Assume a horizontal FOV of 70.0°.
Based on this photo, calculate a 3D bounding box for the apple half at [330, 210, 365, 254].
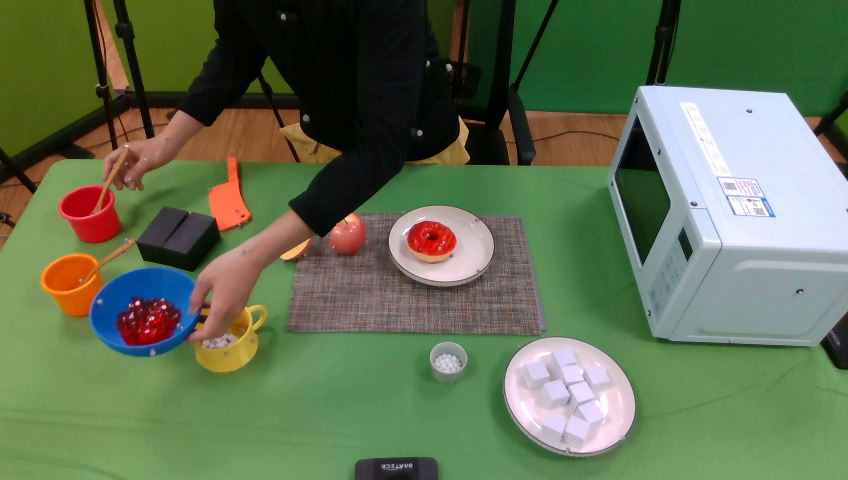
[{"bbox_3d":[-0.140,-0.009,1.157,0.053,0.075,0.080,17,43,8],"label":"apple half"}]

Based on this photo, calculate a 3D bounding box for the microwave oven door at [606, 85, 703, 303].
[{"bbox_3d":[0.423,-0.094,1.140,0.039,0.245,0.353,2,46,-1],"label":"microwave oven door"}]

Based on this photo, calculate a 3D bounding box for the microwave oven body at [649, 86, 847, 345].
[{"bbox_3d":[0.568,-0.053,1.118,0.326,0.261,0.439,2,45,-1],"label":"microwave oven body"}]

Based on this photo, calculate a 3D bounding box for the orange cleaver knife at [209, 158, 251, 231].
[{"bbox_3d":[-0.409,-0.098,1.266,0.077,0.012,0.210,-13,50,-10],"label":"orange cleaver knife"}]

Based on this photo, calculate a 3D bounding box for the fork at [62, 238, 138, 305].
[{"bbox_3d":[-0.547,0.053,1.018,0.207,0.019,0.028,-36,41,23],"label":"fork"}]

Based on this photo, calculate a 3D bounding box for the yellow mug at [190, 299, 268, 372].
[{"bbox_3d":[-0.316,0.148,1.001,0.131,0.064,0.099,-33,56,-31],"label":"yellow mug"}]

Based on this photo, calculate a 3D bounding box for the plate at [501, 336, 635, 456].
[{"bbox_3d":[0.225,0.249,0.964,0.208,0.039,0.206,2,46,-2],"label":"plate"}]

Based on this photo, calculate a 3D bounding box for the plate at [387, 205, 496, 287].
[{"bbox_3d":[0.033,0.014,1.171,0.209,0.038,0.208,2,46,-2],"label":"plate"}]

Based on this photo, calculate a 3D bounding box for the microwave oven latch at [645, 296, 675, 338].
[{"bbox_3d":[0.412,0.134,1.061,0.030,0.029,0.078,3,45,0],"label":"microwave oven latch"}]

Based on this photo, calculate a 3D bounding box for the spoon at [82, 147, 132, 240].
[{"bbox_3d":[-0.602,-0.089,1.156,0.041,0.022,0.194,27,95,23],"label":"spoon"}]

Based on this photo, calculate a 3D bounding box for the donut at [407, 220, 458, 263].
[{"bbox_3d":[0.015,0.002,1.166,0.099,0.048,0.098,3,44,-2],"label":"donut"}]

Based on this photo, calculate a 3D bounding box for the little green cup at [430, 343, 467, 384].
[{"bbox_3d":[0.039,0.203,0.993,0.061,0.039,0.061,2,46,-2],"label":"little green cup"}]

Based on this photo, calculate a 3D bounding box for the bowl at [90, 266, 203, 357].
[{"bbox_3d":[-0.403,0.118,0.899,0.151,0.077,0.150,6,44,-6],"label":"bowl"}]

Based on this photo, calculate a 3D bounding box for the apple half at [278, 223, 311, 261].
[{"bbox_3d":[-0.241,0.007,1.157,0.081,0.033,0.081,-16,55,25],"label":"apple half"}]
